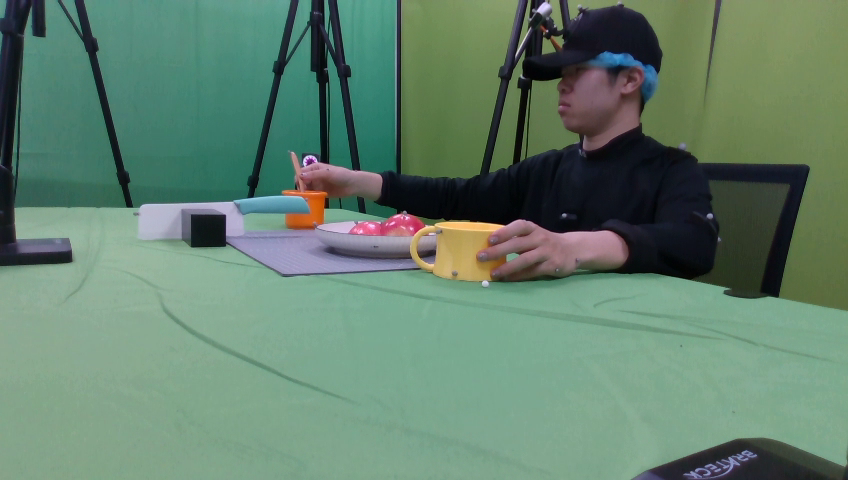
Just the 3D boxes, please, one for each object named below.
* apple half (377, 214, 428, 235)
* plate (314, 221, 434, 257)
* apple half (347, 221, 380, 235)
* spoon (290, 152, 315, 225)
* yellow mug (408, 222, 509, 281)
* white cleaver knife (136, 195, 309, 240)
[{"bbox_3d":[-0.034,-0.013,0.924,0.080,0.053,0.075,5,10,16],"label":"apple half"},{"bbox_3d":[-0.067,-0.002,0.947,0.209,0.038,0.209,3,7,0],"label":"plate"},{"bbox_3d":[-0.089,-0.014,0.985,0.081,0.033,0.081,5,6,0],"label":"apple half"},{"bbox_3d":[-0.257,-0.109,1.259,0.042,0.193,0.021,10,-36,-39],"label":"spoon"},{"bbox_3d":[0.044,0.012,0.784,0.131,0.064,0.100,2,6,4],"label":"yellow mug"},{"bbox_3d":[-0.337,-0.039,1.037,0.288,0.066,0.021,-6,15,-29],"label":"white cleaver knife"}]
